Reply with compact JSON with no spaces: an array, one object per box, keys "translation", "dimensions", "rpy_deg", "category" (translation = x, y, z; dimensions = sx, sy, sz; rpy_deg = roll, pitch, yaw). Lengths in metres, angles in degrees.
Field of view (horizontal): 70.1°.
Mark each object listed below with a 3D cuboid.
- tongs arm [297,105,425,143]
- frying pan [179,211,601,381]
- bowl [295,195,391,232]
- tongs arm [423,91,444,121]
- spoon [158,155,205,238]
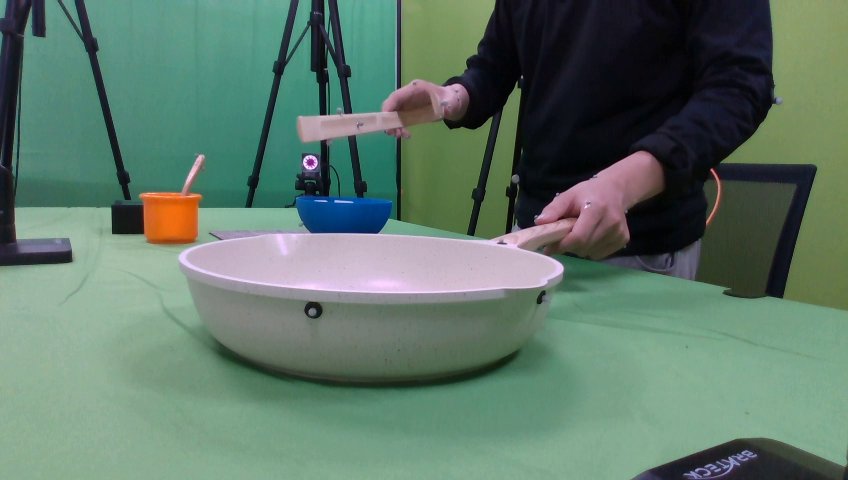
[{"translation":[-0.060,-0.152,0.760],"dimensions":[0.050,0.026,0.385],"rpy_deg":[-10,10,14],"category":"tongs arm"},{"translation":[0.035,0.019,0.556],"dimensions":[0.490,0.102,0.305],"rpy_deg":[-16,19,-43],"category":"frying pan"},{"translation":[-0.127,-0.028,0.946],"dimensions":[0.151,0.077,0.151],"rpy_deg":[2,7,0],"category":"bowl"},{"translation":[0.011,-0.163,0.748],"dimensions":[0.028,0.028,0.387],"rpy_deg":[-15,11,4],"category":"tongs arm"},{"translation":[-0.392,-0.076,0.998],"dimensions":[0.041,0.193,0.021],"rpy_deg":[2,-36,5],"category":"spoon"}]
